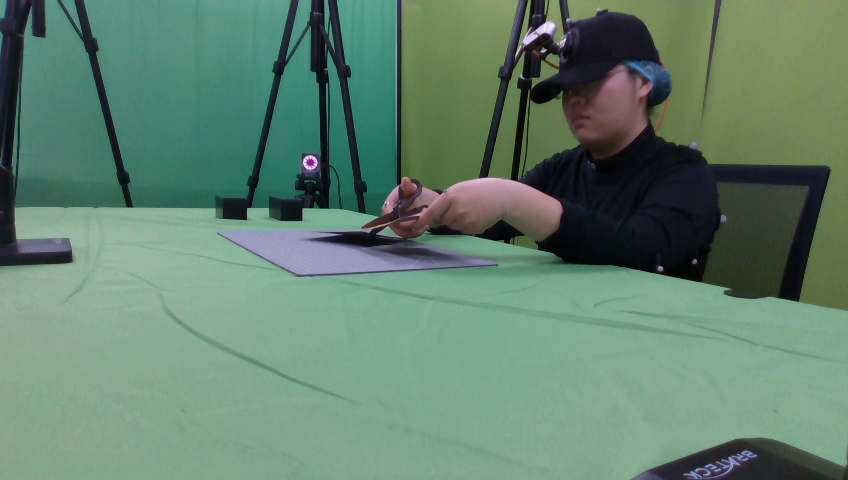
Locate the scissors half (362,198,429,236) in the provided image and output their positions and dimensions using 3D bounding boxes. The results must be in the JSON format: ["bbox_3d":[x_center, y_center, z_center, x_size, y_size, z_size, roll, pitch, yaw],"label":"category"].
[{"bbox_3d":[-0.046,-0.035,1.027,0.012,0.040,0.176,-7,11,41],"label":"scissors half"}]

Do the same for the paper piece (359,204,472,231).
[{"bbox_3d":[-0.015,-0.036,0.944,0.136,0.008,0.137,-20,8,-32],"label":"paper piece"}]

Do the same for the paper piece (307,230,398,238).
[{"bbox_3d":[-0.124,-0.012,1.057,0.135,0.004,0.136,3,-2,33],"label":"paper piece"}]

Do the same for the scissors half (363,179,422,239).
[{"bbox_3d":[-0.054,-0.053,1.022,0.013,0.040,0.175,-14,27,42],"label":"scissors half"}]
